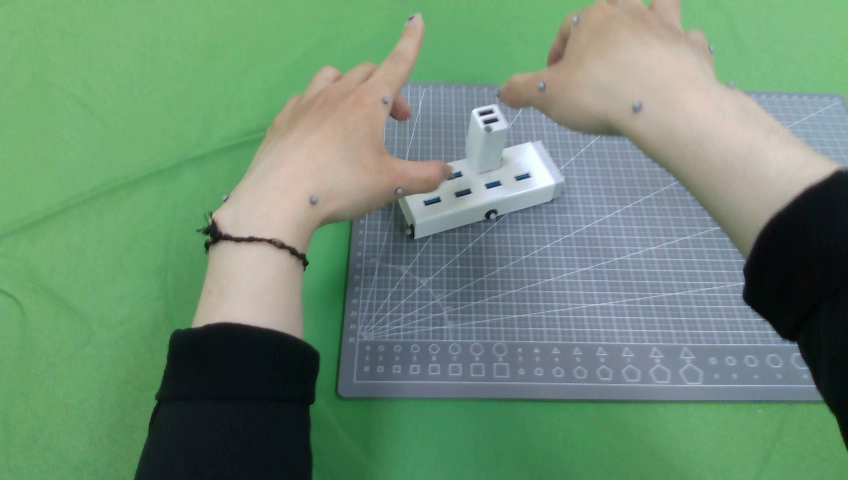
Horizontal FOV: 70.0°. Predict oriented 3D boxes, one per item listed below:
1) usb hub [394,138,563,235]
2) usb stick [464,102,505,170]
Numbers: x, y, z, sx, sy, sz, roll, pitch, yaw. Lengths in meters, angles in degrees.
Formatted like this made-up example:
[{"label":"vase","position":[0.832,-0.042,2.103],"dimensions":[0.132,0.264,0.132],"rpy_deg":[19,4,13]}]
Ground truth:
[{"label":"usb hub","position":[0.042,-0.044,0.478],"dimensions":[0.125,0.025,0.049],"rpy_deg":[-15,58,-13]},{"label":"usb stick","position":[0.045,-0.074,0.463],"dimensions":[0.021,0.059,0.027],"rpy_deg":[-18,56,-13]}]
